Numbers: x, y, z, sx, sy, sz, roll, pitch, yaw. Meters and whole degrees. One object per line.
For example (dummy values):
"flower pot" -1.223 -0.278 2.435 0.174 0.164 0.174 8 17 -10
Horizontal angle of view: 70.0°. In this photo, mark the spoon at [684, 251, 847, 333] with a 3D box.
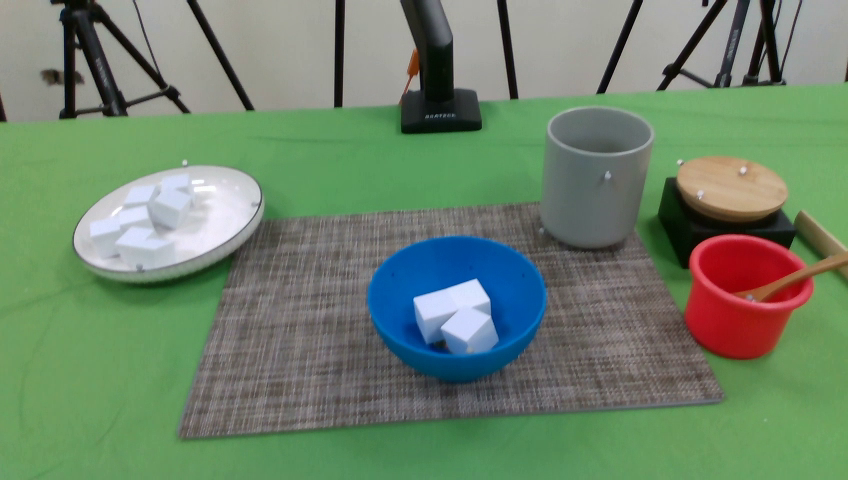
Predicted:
"spoon" 0.313 0.035 0.509 0.022 0.194 0.041 42 38 -17

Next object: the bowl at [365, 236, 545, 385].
"bowl" 0.027 0.072 0.527 0.151 0.077 0.150 -2 38 2

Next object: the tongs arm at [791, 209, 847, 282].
"tongs arm" 0.449 0.090 0.523 0.028 0.028 0.383 -7 39 -9

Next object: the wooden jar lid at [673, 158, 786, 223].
"wooden jar lid" 0.319 -0.052 0.638 0.108 0.021 0.107 -3 38 2

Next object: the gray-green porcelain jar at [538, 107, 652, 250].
"gray-green porcelain jar" 0.177 -0.061 0.647 0.106 0.127 0.105 -2 39 2

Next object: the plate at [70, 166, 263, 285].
"plate" -0.288 -0.016 0.696 0.209 0.038 0.207 -3 38 2
